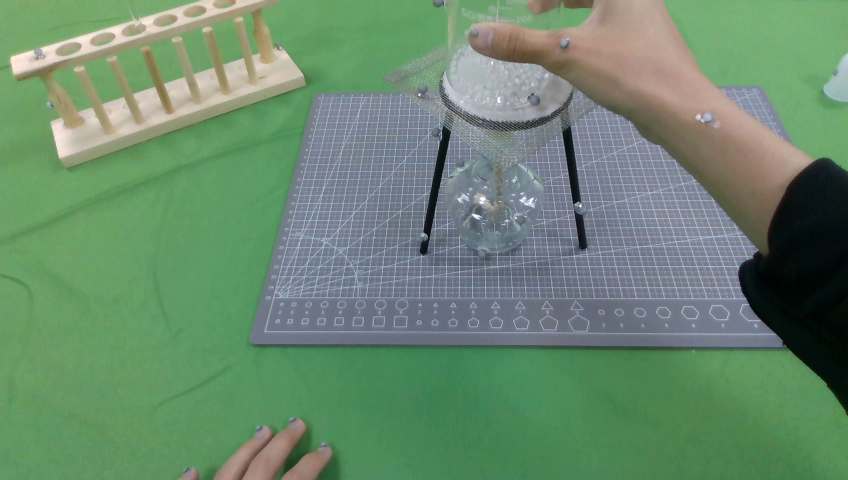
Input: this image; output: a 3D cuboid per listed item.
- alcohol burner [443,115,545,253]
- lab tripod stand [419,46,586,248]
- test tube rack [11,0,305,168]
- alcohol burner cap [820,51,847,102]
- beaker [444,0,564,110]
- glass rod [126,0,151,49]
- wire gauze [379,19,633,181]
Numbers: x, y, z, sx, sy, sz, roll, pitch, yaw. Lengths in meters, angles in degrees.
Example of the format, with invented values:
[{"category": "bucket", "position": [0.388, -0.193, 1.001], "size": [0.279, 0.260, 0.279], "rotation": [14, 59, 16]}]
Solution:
[{"category": "alcohol burner", "position": [0.053, -0.045, 0.451], "size": [0.078, 0.120, 0.077], "rotation": [-1, 51, 1]}, {"category": "lab tripod stand", "position": [0.060, -0.063, 0.452], "size": [0.148, 0.133, 0.147], "rotation": [0, 49, 1]}, {"category": "test tube rack", "position": [-0.248, -0.163, 0.590], "size": [0.242, 0.086, 0.066], "rotation": [-24, 52, -17]}, {"category": "alcohol burner cap", "position": [0.408, -0.161, 0.580], "size": [0.034, 0.048, 0.033], "rotation": [-1, 49, 2]}, {"category": "beaker", "position": [0.045, -0.138, 0.366], "size": [0.083, 0.101, 0.073], "rotation": [15, 51, 14]}, {"category": "glass rod", "position": [-0.260, -0.207, 0.541], "size": [0.008, 0.201, 0.008], "rotation": [2, 50, -2]}, {"category": "wire gauze", "position": [0.053, -0.103, 0.401], "size": [0.121, 0.011, 0.124], "rotation": [-34, 59, -22]}]
